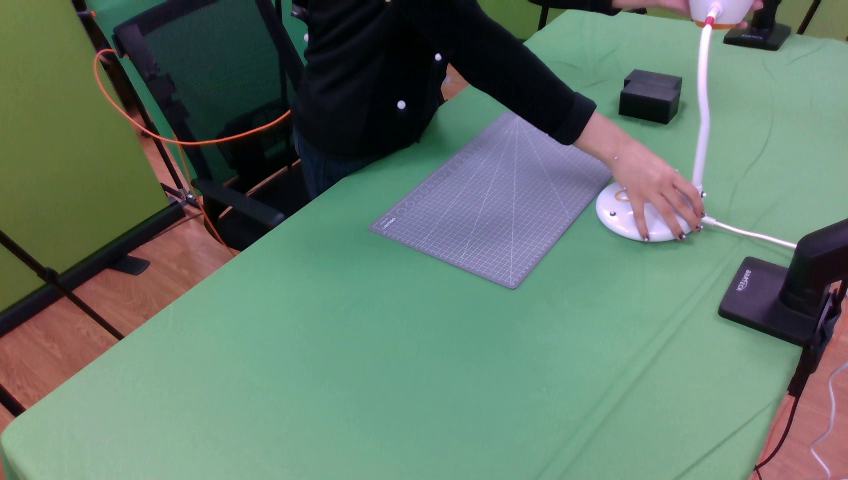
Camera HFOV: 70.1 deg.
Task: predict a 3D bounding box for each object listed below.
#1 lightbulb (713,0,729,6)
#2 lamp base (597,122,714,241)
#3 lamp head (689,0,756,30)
[{"bbox_3d":[0.425,-0.387,0.852,0.059,0.108,0.059,-6,33,4],"label":"lightbulb"},{"bbox_3d":[0.363,-0.109,0.921,0.178,0.181,0.160,13,45,21],"label":"lamp base"},{"bbox_3d":[0.428,-0.363,0.859,0.112,0.123,0.112,0,30,0],"label":"lamp head"}]
